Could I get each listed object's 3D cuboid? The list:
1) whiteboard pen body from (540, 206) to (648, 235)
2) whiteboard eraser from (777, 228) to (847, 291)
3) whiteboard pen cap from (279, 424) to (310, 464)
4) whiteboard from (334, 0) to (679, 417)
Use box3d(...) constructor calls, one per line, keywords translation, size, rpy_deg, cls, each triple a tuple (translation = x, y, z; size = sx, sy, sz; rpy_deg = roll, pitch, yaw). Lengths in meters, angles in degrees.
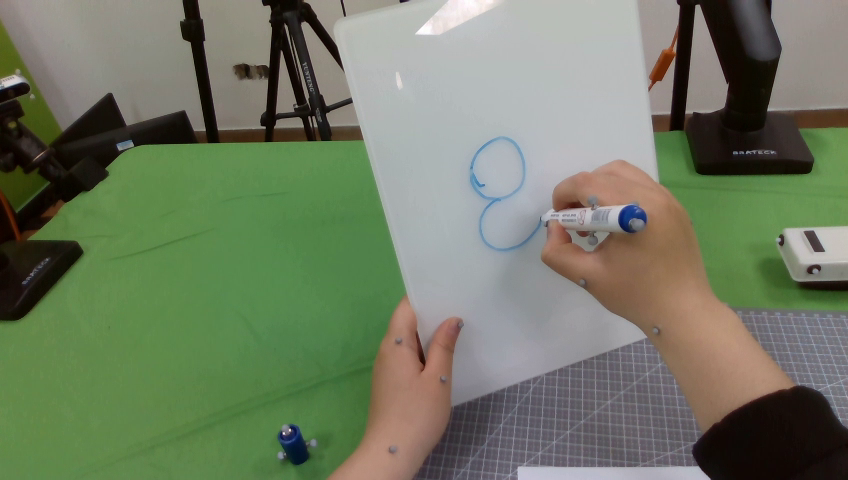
box3d(translation=(0.102, -0.012, 0.391), size=(0.017, 0.017, 0.140), rpy_deg=(-18, 5, -9), cls="whiteboard pen body")
box3d(translation=(0.377, 0.017, 0.529), size=(0.112, 0.042, 0.055), rpy_deg=(-1, 41, 11), cls="whiteboard eraser")
box3d(translation=(-0.099, 0.157, 0.466), size=(0.018, 0.033, 0.018), rpy_deg=(-5, 39, 5), cls="whiteboard pen cap")
box3d(translation=(0.065, -0.048, 0.515), size=(0.217, 0.307, 0.143), rpy_deg=(-17, 18, -8), cls="whiteboard")
